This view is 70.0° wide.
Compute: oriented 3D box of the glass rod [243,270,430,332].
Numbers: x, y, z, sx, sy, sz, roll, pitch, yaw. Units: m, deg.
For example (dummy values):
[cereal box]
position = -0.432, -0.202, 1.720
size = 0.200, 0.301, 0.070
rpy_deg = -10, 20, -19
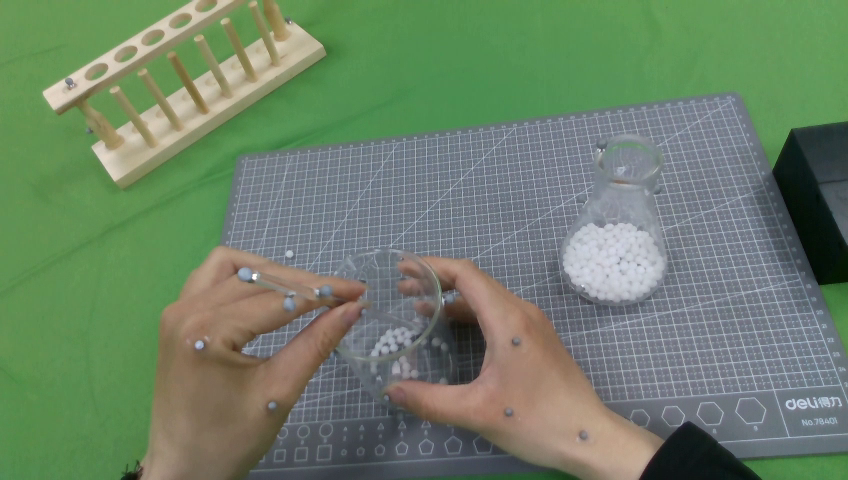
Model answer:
[glass rod]
position = -0.037, 0.040, 0.352
size = 0.008, 0.201, 0.008
rpy_deg = -6, 73, 22

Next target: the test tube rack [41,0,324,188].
[test tube rack]
position = -0.223, -0.163, 0.586
size = 0.242, 0.086, 0.066
rpy_deg = -38, 58, -14

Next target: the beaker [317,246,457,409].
[beaker]
position = -0.020, 0.059, 0.392
size = 0.074, 0.101, 0.083
rpy_deg = -32, 56, -10

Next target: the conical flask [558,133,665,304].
[conical flask]
position = 0.127, -0.016, 0.398
size = 0.075, 0.123, 0.074
rpy_deg = -5, 57, 8
